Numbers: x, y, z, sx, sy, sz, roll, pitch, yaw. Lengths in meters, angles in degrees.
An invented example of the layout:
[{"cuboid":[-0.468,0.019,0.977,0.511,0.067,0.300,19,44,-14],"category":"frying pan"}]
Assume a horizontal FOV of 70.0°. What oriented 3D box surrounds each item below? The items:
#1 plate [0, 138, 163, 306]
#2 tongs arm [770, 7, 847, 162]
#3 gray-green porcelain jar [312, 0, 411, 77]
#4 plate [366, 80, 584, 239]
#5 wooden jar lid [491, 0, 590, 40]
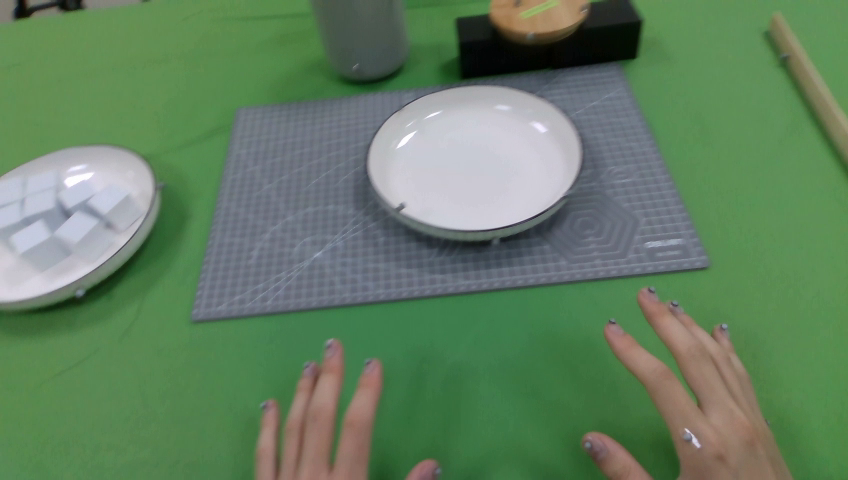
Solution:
[{"cuboid":[-0.358,-0.018,0.600,0.207,0.039,0.205,-4,51,5],"category":"plate"},{"cuboid":[0.408,-0.112,0.582,0.028,0.028,0.383,-2,51,3],"category":"tongs arm"},{"cuboid":[-0.072,-0.265,0.705,0.106,0.128,0.105,-4,50,5],"category":"gray-green porcelain jar"},{"cuboid":[0.048,-0.079,0.592,0.209,0.038,0.207,-4,51,5],"category":"plate"},{"cuboid":[0.130,-0.258,0.677,0.108,0.021,0.107,-3,52,4],"category":"wooden jar lid"}]
